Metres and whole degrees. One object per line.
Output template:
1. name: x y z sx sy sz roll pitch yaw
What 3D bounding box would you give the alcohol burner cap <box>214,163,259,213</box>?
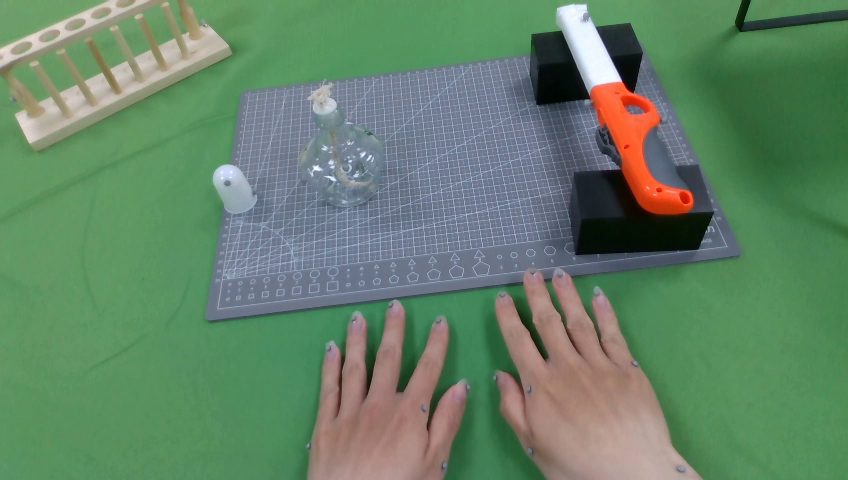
1. alcohol burner cap: -0.179 -0.052 0.571 0.034 0.048 0.033 -3 55 5

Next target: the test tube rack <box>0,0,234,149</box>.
1. test tube rack: -0.350 -0.207 0.682 0.242 0.086 0.066 -33 57 -17

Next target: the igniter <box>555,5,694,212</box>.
1. igniter: 0.167 -0.127 0.536 0.057 0.025 0.273 -10 51 1

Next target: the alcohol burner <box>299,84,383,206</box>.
1. alcohol burner: -0.078 -0.088 0.540 0.078 0.120 0.077 -4 51 5
